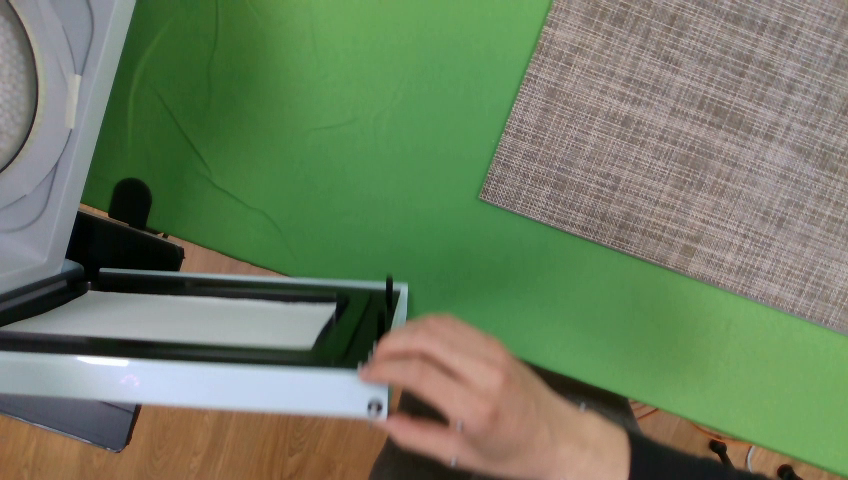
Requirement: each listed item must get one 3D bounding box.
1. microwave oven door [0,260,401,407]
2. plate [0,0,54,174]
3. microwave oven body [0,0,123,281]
[{"bbox_3d":[-0.203,0.068,0.510,0.356,0.243,0.039,3,100,-1],"label":"microwave oven door"},{"bbox_3d":[-0.428,-0.151,0.533,0.209,0.038,0.210,-1,102,-2],"label":"plate"},{"bbox_3d":[-0.431,-0.189,0.470,0.326,0.259,0.442,21,100,-4],"label":"microwave oven body"}]
